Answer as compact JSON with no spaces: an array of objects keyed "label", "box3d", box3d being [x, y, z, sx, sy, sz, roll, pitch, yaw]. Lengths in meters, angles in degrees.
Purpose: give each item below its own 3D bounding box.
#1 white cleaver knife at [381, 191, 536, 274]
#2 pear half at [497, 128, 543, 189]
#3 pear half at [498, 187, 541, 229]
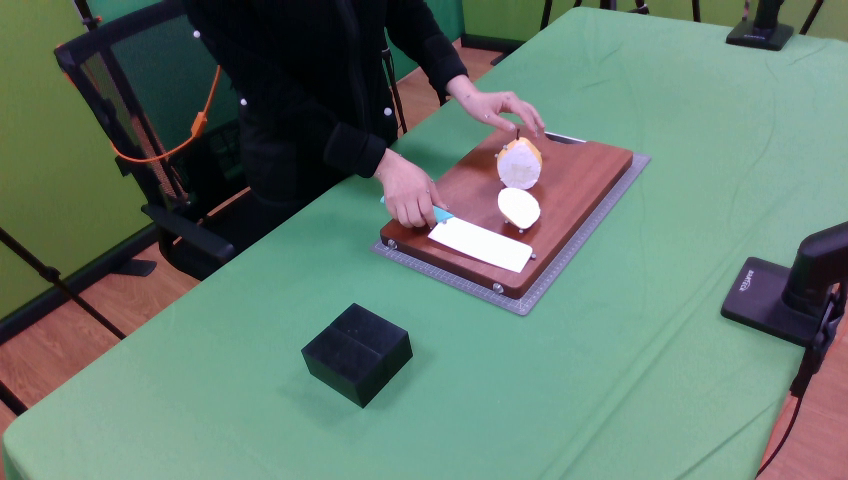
[{"label":"white cleaver knife","box3d":[0.042,-0.018,0.950,0.284,0.021,0.066,23,52,30]},{"label":"pear half","box3d":[0.162,-0.145,1.014,0.076,0.110,0.056,2,42,8]},{"label":"pear half","box3d":[0.149,-0.045,0.956,0.070,0.031,0.087,4,53,-8]}]
